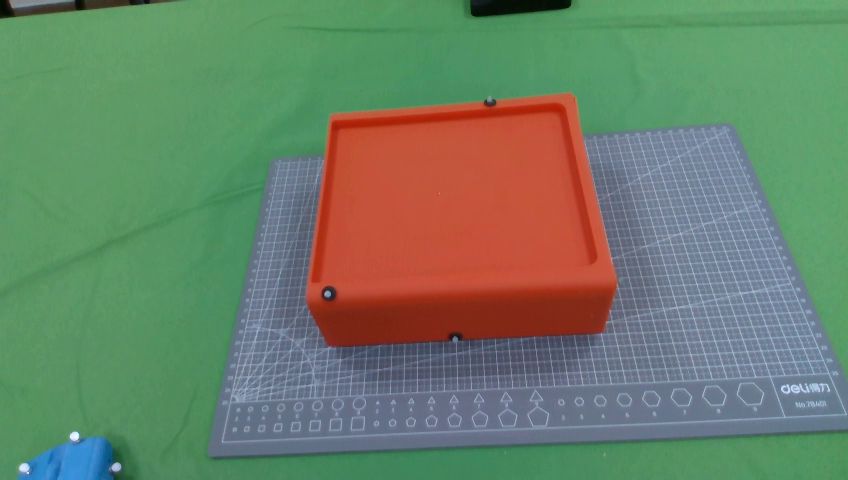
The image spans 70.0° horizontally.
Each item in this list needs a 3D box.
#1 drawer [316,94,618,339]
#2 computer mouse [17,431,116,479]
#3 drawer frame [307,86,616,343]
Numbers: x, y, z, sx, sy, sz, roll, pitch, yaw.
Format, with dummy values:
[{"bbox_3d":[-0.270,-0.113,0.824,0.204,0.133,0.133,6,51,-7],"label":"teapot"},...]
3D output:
[{"bbox_3d":[0.032,-0.023,0.490,0.211,0.074,0.192,-4,54,5],"label":"drawer"},{"bbox_3d":[-0.240,0.183,0.400,0.063,0.041,0.116,-20,50,-5],"label":"computer mouse"},{"bbox_3d":[0.029,-0.024,0.489,0.213,0.083,0.199,-5,54,4],"label":"drawer frame"}]
